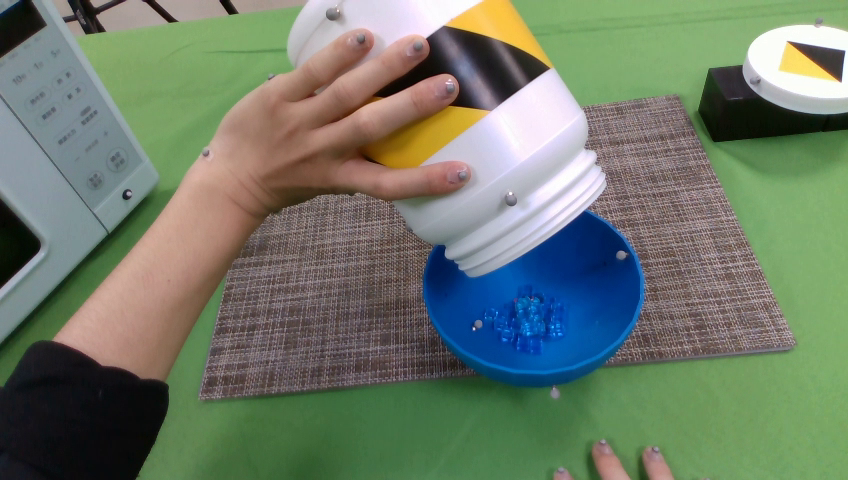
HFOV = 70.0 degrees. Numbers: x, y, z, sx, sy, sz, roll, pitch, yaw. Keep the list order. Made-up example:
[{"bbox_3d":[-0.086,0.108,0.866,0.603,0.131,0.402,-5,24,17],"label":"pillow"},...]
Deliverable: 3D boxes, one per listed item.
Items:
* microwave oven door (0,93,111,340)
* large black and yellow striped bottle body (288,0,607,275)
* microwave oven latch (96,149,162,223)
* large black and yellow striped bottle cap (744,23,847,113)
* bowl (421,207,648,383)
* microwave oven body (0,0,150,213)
[{"bbox_3d":[-0.404,0.037,0.400,0.039,0.246,0.354,16,55,22],"label":"microwave oven door"},{"bbox_3d":[0.019,-0.082,0.381,0.130,0.130,0.184,-38,96,-21],"label":"large black and yellow striped bottle body"},{"bbox_3d":[-0.294,-0.056,0.594,0.030,0.030,0.079,19,56,22],"label":"microwave oven latch"},{"bbox_3d":[0.354,-0.158,0.549,0.115,0.019,0.114,-5,49,6],"label":"large black and yellow striped bottle cap"},{"bbox_3d":[0.077,0.047,0.442,0.151,0.077,0.150,-5,50,6],"label":"bowl"},{"bbox_3d":[-0.516,-0.029,0.479,0.324,0.263,0.439,17,56,21],"label":"microwave oven body"}]
